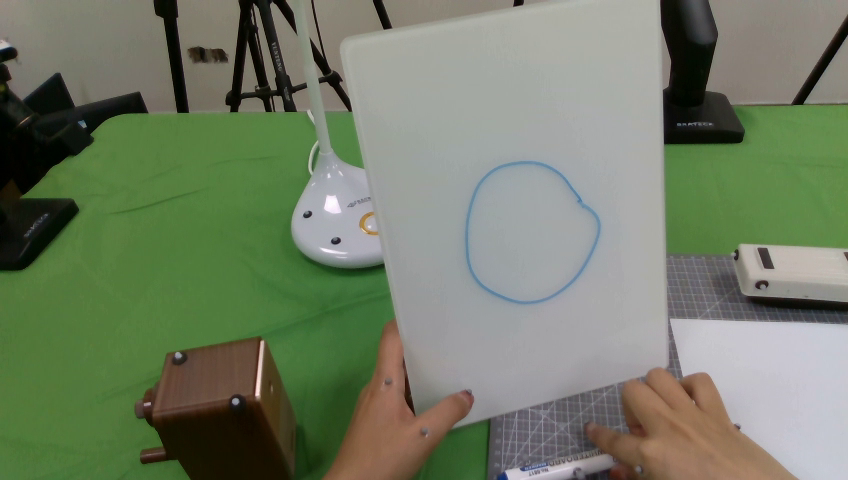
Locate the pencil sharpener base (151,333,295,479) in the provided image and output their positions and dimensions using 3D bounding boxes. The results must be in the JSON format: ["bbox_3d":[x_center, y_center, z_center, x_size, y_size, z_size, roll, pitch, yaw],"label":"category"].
[{"bbox_3d":[-0.144,0.128,0.446,0.077,0.108,0.060,-9,40,-3],"label":"pencil sharpener base"}]

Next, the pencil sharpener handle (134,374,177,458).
[{"bbox_3d":[-0.195,0.129,0.431,0.031,0.068,0.035,-9,28,-3],"label":"pencil sharpener handle"}]

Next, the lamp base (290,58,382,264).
[{"bbox_3d":[-0.087,-0.092,0.646,0.160,0.182,0.177,-32,44,-27],"label":"lamp base"}]

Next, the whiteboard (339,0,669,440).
[{"bbox_3d":[0.064,-0.029,0.500,0.217,0.307,0.142,-13,21,-7],"label":"whiteboard"}]

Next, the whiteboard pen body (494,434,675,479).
[{"bbox_3d":[0.119,0.159,0.440,0.141,0.017,0.017,-10,40,-10],"label":"whiteboard pen body"}]

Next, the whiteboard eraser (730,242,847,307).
[{"bbox_3d":[0.344,0.032,0.551,0.112,0.042,0.055,4,42,11],"label":"whiteboard eraser"}]
